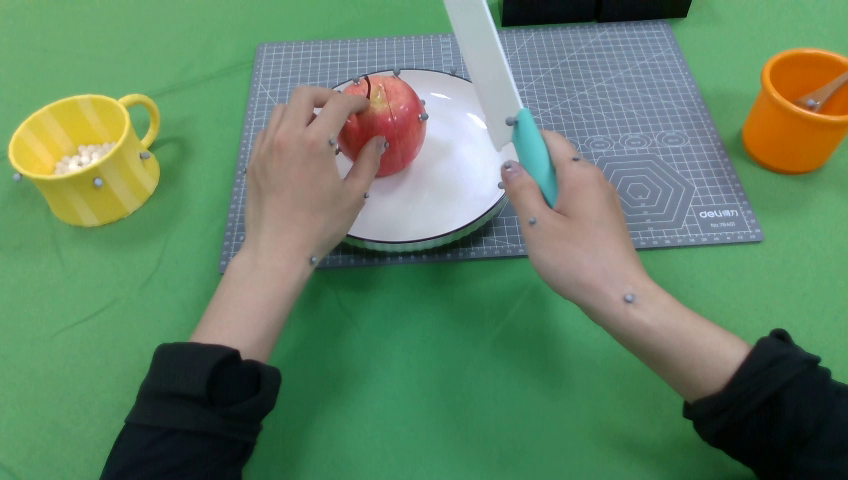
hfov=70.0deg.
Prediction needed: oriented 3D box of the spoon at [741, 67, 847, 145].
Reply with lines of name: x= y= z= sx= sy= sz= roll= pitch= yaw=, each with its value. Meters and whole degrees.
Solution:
spoon: x=0.362 y=-0.142 z=0.506 sx=0.022 sy=0.194 sz=0.041 roll=24 pitch=42 yaw=-35

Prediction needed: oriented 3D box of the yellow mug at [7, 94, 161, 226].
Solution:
yellow mug: x=-0.287 y=-0.081 z=0.540 sx=0.099 sy=0.064 sz=0.130 roll=26 pitch=59 yaw=19

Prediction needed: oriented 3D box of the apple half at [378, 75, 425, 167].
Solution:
apple half: x=-0.015 y=-0.105 z=0.526 sx=0.033 sy=0.082 sz=0.080 roll=-17 pitch=56 yaw=-1

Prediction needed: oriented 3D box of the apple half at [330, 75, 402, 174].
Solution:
apple half: x=-0.053 y=-0.095 z=0.522 sx=0.053 sy=0.075 sz=0.080 roll=-16 pitch=59 yaw=-3

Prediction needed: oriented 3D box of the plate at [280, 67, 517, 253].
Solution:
plate: x=-0.020 y=-0.071 z=0.536 sx=0.209 sy=0.038 sz=0.207 roll=-1 pitch=55 yaw=1

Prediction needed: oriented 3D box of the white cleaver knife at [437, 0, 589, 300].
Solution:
white cleaver knife: x=0.053 y=-0.094 z=0.425 sx=0.021 sy=0.066 sz=0.286 roll=-19 pitch=89 yaw=-14
